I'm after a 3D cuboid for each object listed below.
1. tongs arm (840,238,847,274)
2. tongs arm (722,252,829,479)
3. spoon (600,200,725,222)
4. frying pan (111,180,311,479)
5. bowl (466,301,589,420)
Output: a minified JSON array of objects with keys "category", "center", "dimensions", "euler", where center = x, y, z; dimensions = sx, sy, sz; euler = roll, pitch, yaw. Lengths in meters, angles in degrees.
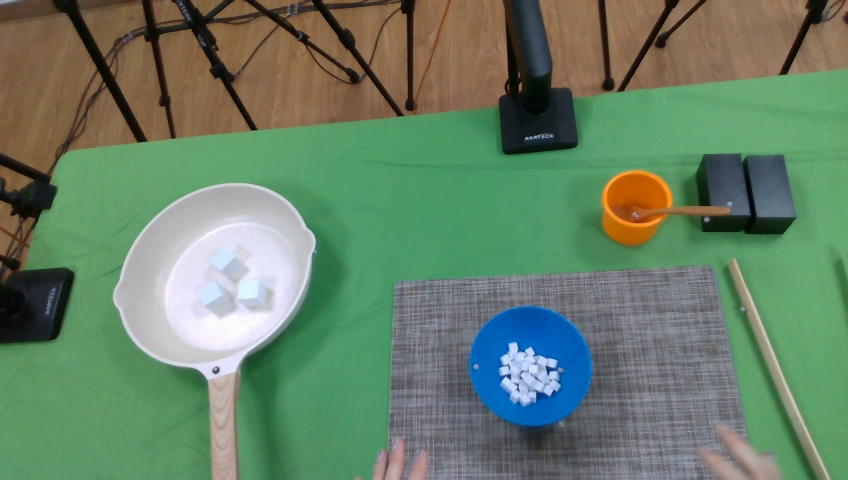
[{"category":"tongs arm","center":[0.533,0.177,0.735],"dimensions":[0.050,0.027,0.382],"euler":[-2,65,10]},{"category":"tongs arm","center":[0.453,0.188,0.748],"dimensions":[0.028,0.028,0.384],"euler":[-13,63,1]},{"category":"spoon","center":[0.313,-0.043,0.813],"dimensions":[0.022,0.193,0.041],"euler":[45,71,-19]},{"category":"frying pan","center":[-0.286,0.130,0.851],"dimensions":[0.307,0.104,0.482],"euler":[-16,55,3]},{"category":"bowl","center":[0.132,0.162,0.779],"dimensions":[0.151,0.077,0.150],"euler":[-3,64,7]}]
